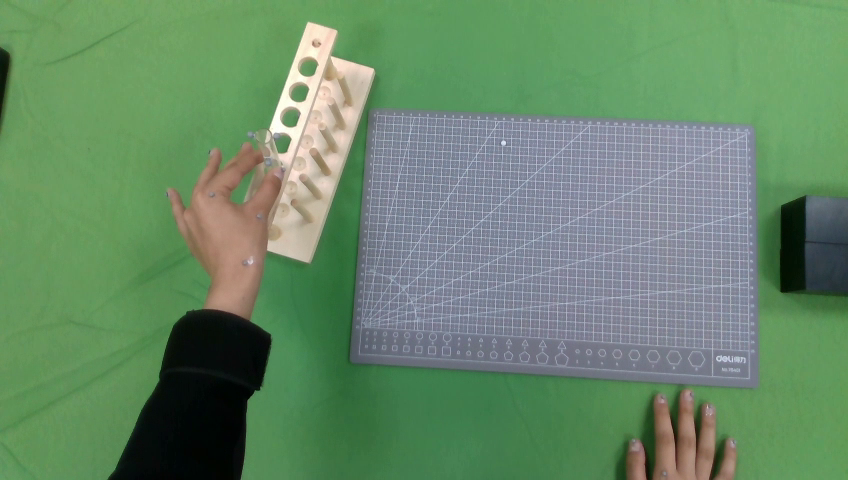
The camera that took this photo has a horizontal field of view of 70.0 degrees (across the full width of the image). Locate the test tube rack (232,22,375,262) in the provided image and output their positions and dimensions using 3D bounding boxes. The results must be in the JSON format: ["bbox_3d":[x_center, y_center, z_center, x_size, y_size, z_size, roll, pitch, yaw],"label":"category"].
[{"bbox_3d":[-0.128,-0.104,0.672,0.066,0.085,0.241,17,83,4],"label":"test tube rack"}]

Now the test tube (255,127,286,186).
[{"bbox_3d":[-0.152,-0.078,0.607,0.017,0.150,0.017,2,78,-8],"label":"test tube"}]
